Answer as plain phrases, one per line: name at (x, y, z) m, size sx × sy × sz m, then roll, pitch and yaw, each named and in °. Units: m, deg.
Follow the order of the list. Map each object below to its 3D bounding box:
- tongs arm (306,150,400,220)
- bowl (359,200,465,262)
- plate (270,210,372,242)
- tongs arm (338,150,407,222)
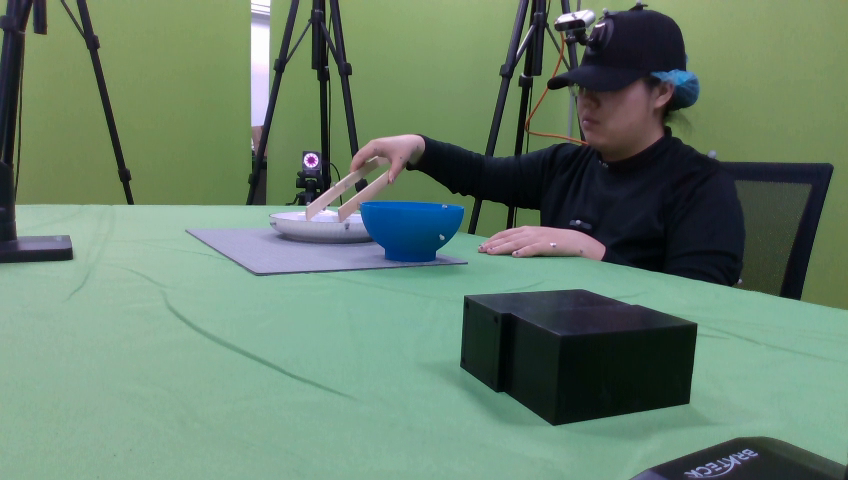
tongs arm at (-0.123, -0.113, 1.152) m, size 0.050 × 0.026 × 0.385 m, roll 2°, pitch 22°, yaw 14°
bowl at (-0.018, -0.013, 0.859) m, size 0.151 × 0.077 × 0.151 m, roll 2°, pitch 7°, yaw 0°
plate at (-0.161, -0.024, 1.054) m, size 0.208 × 0.039 × 0.207 m, roll 2°, pitch 7°, yaw 0°
tongs arm at (-0.089, -0.111, 1.143) m, size 0.028 × 0.028 × 0.388 m, roll -1°, pitch 22°, yaw 16°
